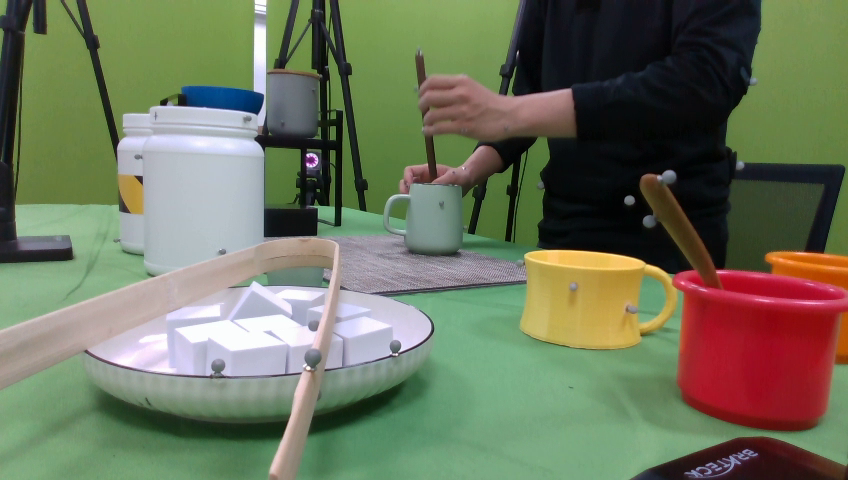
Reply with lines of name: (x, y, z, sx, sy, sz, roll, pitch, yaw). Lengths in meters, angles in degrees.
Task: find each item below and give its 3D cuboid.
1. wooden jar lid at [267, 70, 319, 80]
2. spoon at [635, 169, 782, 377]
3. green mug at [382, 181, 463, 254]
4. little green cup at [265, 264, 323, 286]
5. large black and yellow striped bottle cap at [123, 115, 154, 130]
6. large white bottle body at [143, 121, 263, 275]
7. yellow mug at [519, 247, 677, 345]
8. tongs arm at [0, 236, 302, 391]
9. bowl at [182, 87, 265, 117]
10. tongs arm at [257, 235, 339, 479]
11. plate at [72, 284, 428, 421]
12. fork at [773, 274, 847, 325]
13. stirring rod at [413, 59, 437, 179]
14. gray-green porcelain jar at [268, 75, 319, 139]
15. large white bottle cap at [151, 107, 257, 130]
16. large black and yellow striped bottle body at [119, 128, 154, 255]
wooden jar lid: (-0.275, -0.340, 1.271, 0.108, 0.020, 0.108, 5, 6, 0)
spoon: (0.161, 0.026, 0.346, 0.021, 0.194, 0.041, -51, 32, -19)
green mug: (-0.001, -0.036, 0.922, 0.126, 0.105, 0.092, 0, 8, -16)
little green cup: (-0.134, 0.033, 0.627, 0.061, 0.038, 0.061, 3, 7, 0)
large black and yellow striped bottle cap: (-0.353, -0.159, 0.838, 0.115, 0.019, 0.115, 2, 6, 0)
large white bottle body: (-0.254, -0.054, 0.702, 0.131, 0.184, 0.130, 2, 8, 0)
yellow mug: (0.148, 0.045, 0.513, 0.131, 0.064, 0.100, 3, 6, 0)
tongs arm: (-0.157, 0.037, 0.347, 0.028, 0.028, 0.388, -2, 8, 11)
bowl: (-0.383, -0.243, 1.158, 0.151, 0.077, 0.151, 2, 7, 0)
tongs arm: (-0.074, 0.040, 0.345, 0.051, 0.026, 0.384, -1, 10, -3)
plate: (-0.102, 0.067, 0.381, 0.208, 0.039, 0.207, 3, 7, 0)
fork: (0.332, 0.018, 0.443, 0.028, 0.018, 0.207, -1, -36, -14)
stirring rod: (0.002, -0.173, 0.881, 0.014, 0.176, 0.006, 8, 25, 38)
gray-green porcelain jar: (-0.277, -0.279, 1.280, 0.106, 0.126, 0.106, 2, 8, 0)
large white bottle cap: (-0.250, -0.138, 0.692, 0.115, 0.018, 0.115, 3, 7, 0)
large black and yellow striped bottle body: (-0.355, -0.076, 0.850, 0.131, 0.184, 0.130, 2, 8, 0)
